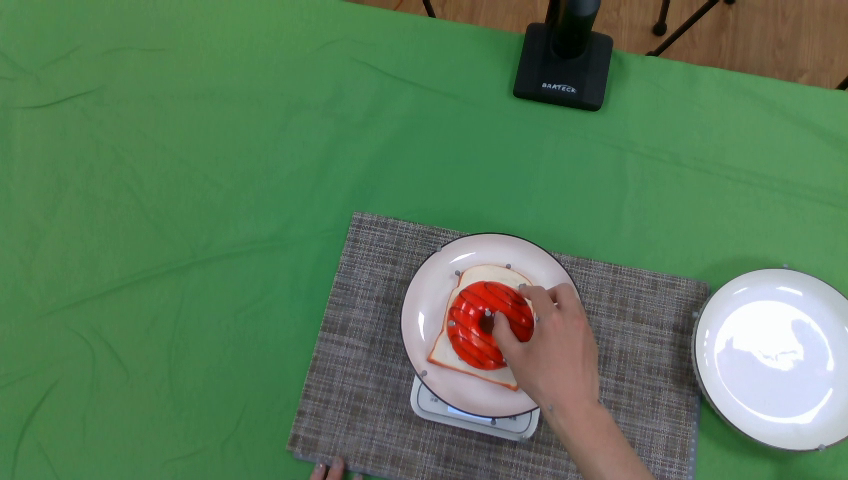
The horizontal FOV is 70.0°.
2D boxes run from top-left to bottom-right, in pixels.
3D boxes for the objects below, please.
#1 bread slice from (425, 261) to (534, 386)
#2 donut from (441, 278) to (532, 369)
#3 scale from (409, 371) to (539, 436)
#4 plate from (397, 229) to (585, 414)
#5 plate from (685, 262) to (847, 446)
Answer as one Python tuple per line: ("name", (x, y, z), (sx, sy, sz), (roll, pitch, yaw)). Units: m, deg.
("bread slice", (0.069, 0.088, 0.690), (0.105, 0.019, 0.131), (16, 75, 4))
("donut", (0.068, 0.090, 0.658), (0.099, 0.048, 0.098), (0, 77, -1))
("scale", (0.072, 0.117, 0.714), (0.148, 0.032, 0.200), (12, 75, 5))
("plate", (0.074, 0.090, 0.687), (0.209, 0.038, 0.208), (0, 74, 1))
("plate", (0.404, 0.130, 0.701), (0.207, 0.039, 0.206), (0, 74, 2))
